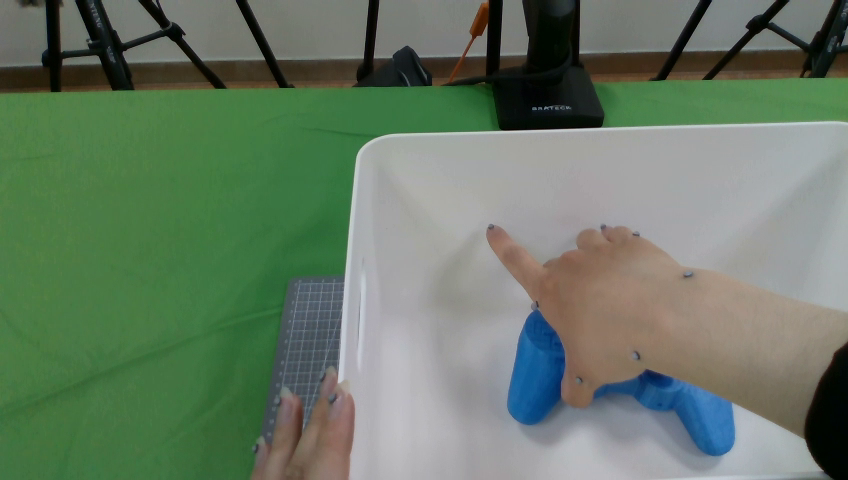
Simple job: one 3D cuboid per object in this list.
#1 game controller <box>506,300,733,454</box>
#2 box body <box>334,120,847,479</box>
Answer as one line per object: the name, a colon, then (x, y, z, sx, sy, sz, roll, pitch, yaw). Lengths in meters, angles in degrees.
game controller: (0.141, 0.090, 0.434, 0.155, 0.052, 0.096, 9, 41, 5)
box body: (0.139, 0.064, 0.393, 0.364, 0.162, 0.251, -2, 46, -1)
